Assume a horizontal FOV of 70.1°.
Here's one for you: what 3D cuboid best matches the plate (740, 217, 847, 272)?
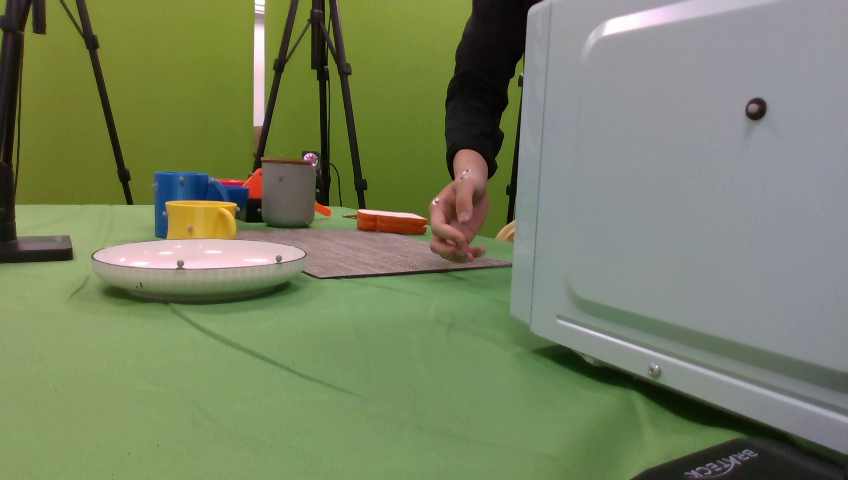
[{"bbox_3d":[0.358,0.002,0.465,0.209,0.038,0.209,0,4,0],"label":"plate"}]

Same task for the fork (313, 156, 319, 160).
[{"bbox_3d":[-0.331,-0.144,1.506,0.207,0.018,0.028,-42,-18,22],"label":"fork"}]

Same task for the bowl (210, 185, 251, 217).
[{"bbox_3d":[-0.408,-0.064,1.154,0.151,0.077,0.151,2,8,0],"label":"bowl"}]

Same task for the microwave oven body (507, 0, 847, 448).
[{"bbox_3d":[0.331,-0.042,0.425,0.444,0.260,0.324,-2,8,-31],"label":"microwave oven body"}]

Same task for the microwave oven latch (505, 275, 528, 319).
[{"bbox_3d":[0.100,0.042,0.471,0.079,0.029,0.030,-1,7,-29],"label":"microwave oven latch"}]

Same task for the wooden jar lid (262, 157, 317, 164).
[{"bbox_3d":[-0.269,-0.154,1.208,0.108,0.020,0.108,3,4,0],"label":"wooden jar lid"}]

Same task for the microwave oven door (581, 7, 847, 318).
[{"bbox_3d":[0.295,-0.067,0.570,0.358,0.243,0.039,-3,8,-31],"label":"microwave oven door"}]

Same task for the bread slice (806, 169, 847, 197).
[{"bbox_3d":[0.365,-0.051,0.453,0.135,0.018,0.106,-10,1,-23],"label":"bread slice"}]

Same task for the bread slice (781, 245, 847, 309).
[{"bbox_3d":[0.370,0.020,0.473,0.132,0.019,0.104,-22,10,-11],"label":"bread slice"}]

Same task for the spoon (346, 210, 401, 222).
[{"bbox_3d":[-0.121,-0.060,1.400,0.042,0.021,0.192,-27,24,-38],"label":"spoon"}]

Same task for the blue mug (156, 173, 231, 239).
[{"bbox_3d":[-0.381,-0.057,1.004,0.117,0.106,0.082,0,8,-12],"label":"blue mug"}]

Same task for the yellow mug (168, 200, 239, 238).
[{"bbox_3d":[-0.320,-0.023,0.904,0.130,0.064,0.100,9,11,36],"label":"yellow mug"}]

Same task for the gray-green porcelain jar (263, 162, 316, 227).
[{"bbox_3d":[-0.271,-0.092,1.217,0.106,0.126,0.106,2,7,0],"label":"gray-green porcelain jar"}]

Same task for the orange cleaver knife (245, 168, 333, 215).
[{"bbox_3d":[-0.300,-0.089,1.352,0.212,0.077,0.012,28,-9,-34],"label":"orange cleaver knife"}]

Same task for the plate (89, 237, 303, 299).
[{"bbox_3d":[-0.233,0.029,0.637,0.208,0.039,0.207,2,7,0],"label":"plate"}]

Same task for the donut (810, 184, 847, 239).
[{"bbox_3d":[0.352,-0.026,0.463,0.099,0.048,0.099,-10,3,1],"label":"donut"}]
